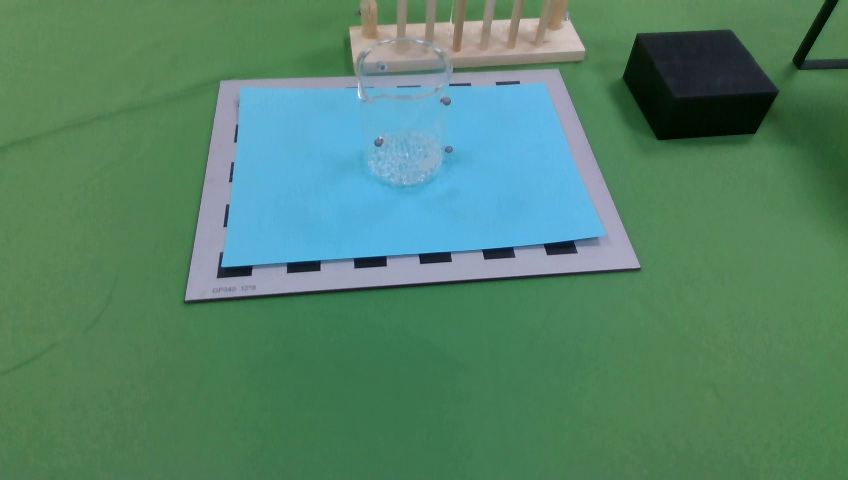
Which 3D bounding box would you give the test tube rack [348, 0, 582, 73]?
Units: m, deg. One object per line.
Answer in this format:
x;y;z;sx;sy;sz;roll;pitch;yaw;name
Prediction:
0.044;-0.232;0.618;0.243;0.086;0.066;-5;51;-7;test tube rack

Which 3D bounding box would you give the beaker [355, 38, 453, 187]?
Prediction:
-0.019;-0.098;0.493;0.073;0.101;0.084;35;58;23;beaker

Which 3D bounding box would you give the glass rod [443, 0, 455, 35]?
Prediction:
0.037;-0.282;0.573;0.008;0.201;0.008;5;53;-7;glass rod
